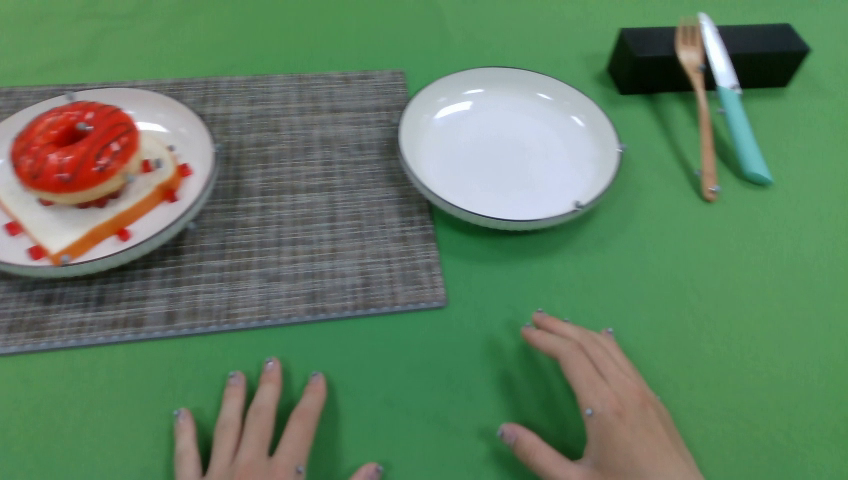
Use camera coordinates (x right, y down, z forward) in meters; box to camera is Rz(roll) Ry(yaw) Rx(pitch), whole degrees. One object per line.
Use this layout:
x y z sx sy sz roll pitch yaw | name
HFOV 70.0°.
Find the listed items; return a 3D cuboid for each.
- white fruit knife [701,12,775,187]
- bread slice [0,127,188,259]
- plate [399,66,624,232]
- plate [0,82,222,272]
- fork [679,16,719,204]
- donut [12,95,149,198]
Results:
0.313 -0.148 0.617 0.027 0.016 0.206 -4 70 -10 | white fruit knife
-0.274 -0.050 0.515 0.104 0.019 0.131 36 60 20 | bread slice
0.080 -0.085 0.573 0.208 0.039 0.205 2 53 -3 | plate
-0.278 -0.055 0.515 0.209 0.038 0.207 2 53 -3 | plate
0.275 -0.133 0.600 0.028 0.019 0.206 5 70 -7 | fork
-0.274 -0.076 0.487 0.099 0.048 0.098 2 53 -3 | donut
